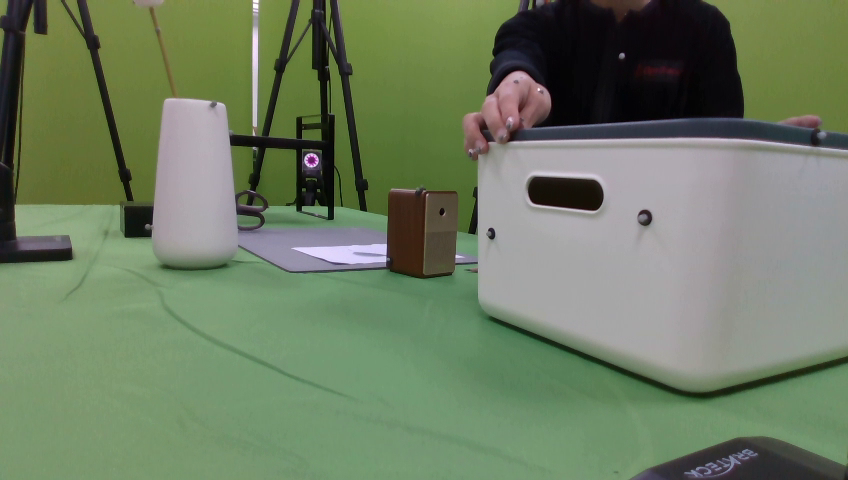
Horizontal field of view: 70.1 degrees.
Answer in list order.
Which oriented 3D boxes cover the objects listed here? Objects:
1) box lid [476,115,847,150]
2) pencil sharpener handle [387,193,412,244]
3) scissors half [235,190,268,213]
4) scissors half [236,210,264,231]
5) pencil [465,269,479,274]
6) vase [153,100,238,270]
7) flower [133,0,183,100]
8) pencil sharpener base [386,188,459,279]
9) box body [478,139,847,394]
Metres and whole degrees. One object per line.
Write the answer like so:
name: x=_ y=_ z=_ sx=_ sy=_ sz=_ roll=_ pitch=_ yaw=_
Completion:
box lid: x=0.257 y=-0.077 z=0.536 sx=0.373 sy=0.015 sz=0.262 roll=0 pitch=6 yaw=-32
pencil sharpener handle: x=-0.038 y=-0.029 z=0.797 sx=0.036 sy=0.068 sz=0.030 roll=-13 pitch=15 yaw=-42
scissors half: x=-0.363 y=-0.070 z=1.060 sx=0.176 sy=0.040 sz=0.013 roll=0 pitch=16 yaw=-23
scissors half: x=-0.369 y=-0.051 z=1.065 sx=0.176 sy=0.040 sz=0.012 roll=19 pitch=13 yaw=-27
pencil: x=0.149 y=0.041 z=0.805 sx=0.194 sy=0.012 sz=0.012 roll=0 pitch=8 yaw=-11
vase: x=-0.278 y=-0.066 z=0.736 sx=0.098 sy=0.200 sz=0.098 roll=2 pitch=9 yaw=0
flower: x=-0.282 y=-0.147 z=0.713 sx=0.038 sy=0.362 sz=0.044 roll=-23 pitch=24 yaw=-31
pencil sharpener base: x=-0.004 y=-0.011 z=0.761 sx=0.062 sy=0.107 sz=0.076 roll=-5 pitch=10 yaw=-44
box body: x=0.253 y=0.001 z=0.539 sx=0.366 sy=0.160 sz=0.253 roll=-2 pitch=9 yaw=-32
